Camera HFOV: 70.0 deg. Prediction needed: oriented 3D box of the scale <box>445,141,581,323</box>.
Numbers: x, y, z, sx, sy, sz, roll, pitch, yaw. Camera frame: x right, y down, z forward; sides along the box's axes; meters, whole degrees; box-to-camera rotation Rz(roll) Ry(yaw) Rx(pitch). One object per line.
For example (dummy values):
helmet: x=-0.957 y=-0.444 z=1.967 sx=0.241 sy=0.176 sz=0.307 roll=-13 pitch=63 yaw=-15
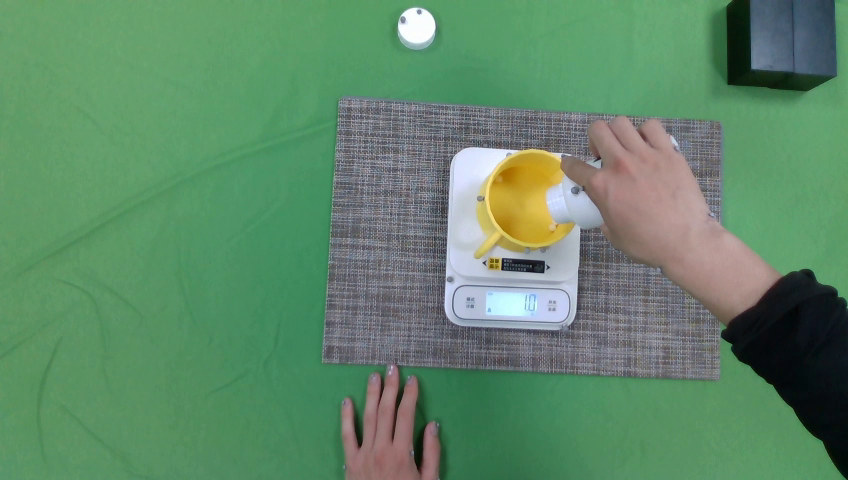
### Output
scale: x=0.100 y=-0.009 z=0.677 sx=0.149 sy=0.031 sz=0.200 roll=2 pitch=86 yaw=-2

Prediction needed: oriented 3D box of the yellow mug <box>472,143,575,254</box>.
yellow mug: x=0.096 y=-0.034 z=0.631 sx=0.100 sy=0.064 sz=0.131 roll=43 pitch=85 yaw=1

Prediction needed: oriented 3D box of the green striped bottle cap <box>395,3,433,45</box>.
green striped bottle cap: x=-0.011 y=-0.251 z=0.703 sx=0.044 sy=0.020 sz=0.044 roll=0 pitch=88 yaw=-3

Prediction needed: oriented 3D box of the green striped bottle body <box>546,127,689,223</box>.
green striped bottle body: x=0.174 y=-0.055 z=0.559 sx=0.119 sy=0.063 sz=0.063 roll=-18 pitch=85 yaw=33
